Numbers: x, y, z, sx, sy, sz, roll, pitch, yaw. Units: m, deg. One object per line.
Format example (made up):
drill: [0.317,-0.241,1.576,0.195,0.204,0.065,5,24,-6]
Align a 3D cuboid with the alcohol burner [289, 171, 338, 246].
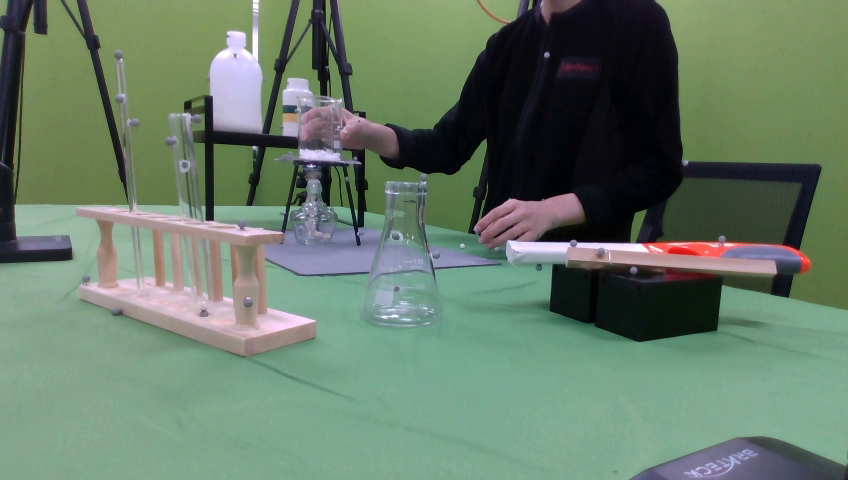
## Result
alcohol burner: [-0.177,-0.051,0.968,0.078,0.119,0.078,0,6,0]

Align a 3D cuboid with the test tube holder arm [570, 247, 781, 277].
test tube holder arm: [0.217,0.019,0.524,0.178,0.015,0.013,3,-23,3]

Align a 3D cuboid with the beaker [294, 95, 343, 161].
beaker: [-0.164,-0.177,0.964,0.083,0.100,0.074,8,11,34]

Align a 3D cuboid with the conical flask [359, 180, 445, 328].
conical flask: [-0.017,0.010,0.522,0.075,0.122,0.075,2,7,0]

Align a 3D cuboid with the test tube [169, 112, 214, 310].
test tube: [-0.175,-0.020,0.455,0.017,0.150,0.017,-3,9,1]

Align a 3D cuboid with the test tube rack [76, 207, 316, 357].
test tube rack: [-0.196,0.023,0.499,0.241,0.085,0.067,8,9,36]

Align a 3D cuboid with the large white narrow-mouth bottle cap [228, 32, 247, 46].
large white narrow-mouth bottle cap: [-0.364,-0.391,1.181,0.038,0.024,0.037,3,8,0]

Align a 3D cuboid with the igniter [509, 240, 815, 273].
igniter: [0.220,0.015,0.566,0.277,0.025,0.057,2,16,0]

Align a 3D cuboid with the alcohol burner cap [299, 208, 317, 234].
alcohol burner cap: [-0.213,-0.035,1.110,0.034,0.048,0.034,2,7,0]

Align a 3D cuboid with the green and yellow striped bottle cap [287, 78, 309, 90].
green and yellow striped bottle cap: [-0.265,-0.326,1.268,0.045,0.020,0.045,4,6,0]

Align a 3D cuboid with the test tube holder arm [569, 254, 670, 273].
test tube holder arm: [0.172,0.019,0.532,0.088,0.015,0.010,3,-23,4]

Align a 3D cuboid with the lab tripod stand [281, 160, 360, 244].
lab tripod stand: [-0.170,-0.063,0.983,0.148,0.131,0.148,1,6,0]

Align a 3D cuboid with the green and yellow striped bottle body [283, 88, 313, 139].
green and yellow striped bottle body: [-0.266,-0.275,1.275,0.063,0.119,0.063,2,7,0]

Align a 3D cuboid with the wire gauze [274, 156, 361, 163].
wire gauze: [-0.175,-0.130,0.978,0.125,0.011,0.121,-2,8,-19]

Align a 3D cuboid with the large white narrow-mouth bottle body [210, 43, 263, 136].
large white narrow-mouth bottle body: [-0.369,-0.306,1.194,0.102,0.194,0.102,3,8,0]

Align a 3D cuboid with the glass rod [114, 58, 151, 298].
glass rod: [-0.236,-0.044,0.492,0.008,0.199,0.008,0,15,0]
